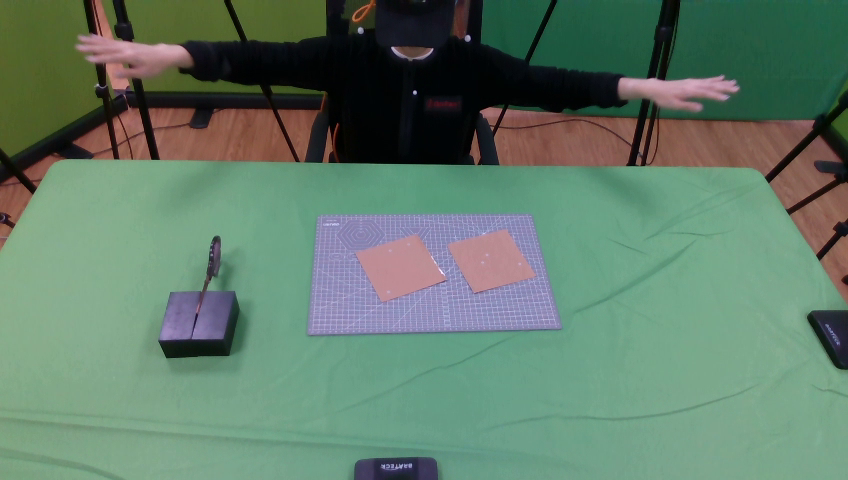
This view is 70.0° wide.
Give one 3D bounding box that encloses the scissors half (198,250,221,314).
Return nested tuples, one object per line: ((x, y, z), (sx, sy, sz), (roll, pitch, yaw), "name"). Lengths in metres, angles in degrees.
((-0.379, 0.073, 1.070), (0.013, 0.040, 0.174), (6, 32, -9), "scissors half")

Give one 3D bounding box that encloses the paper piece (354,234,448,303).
((-0.045, 0.049, 1.154), (0.138, 0.009, 0.135), (-17, 46, -18), "paper piece")

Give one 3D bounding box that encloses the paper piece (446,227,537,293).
((0.130, 0.037, 1.177), (0.136, 0.004, 0.134), (-14, 49, -16), "paper piece")

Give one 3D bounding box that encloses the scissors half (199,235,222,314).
((-0.374, 0.058, 1.057), (0.013, 0.040, 0.174), (10, 49, -13), "scissors half")
